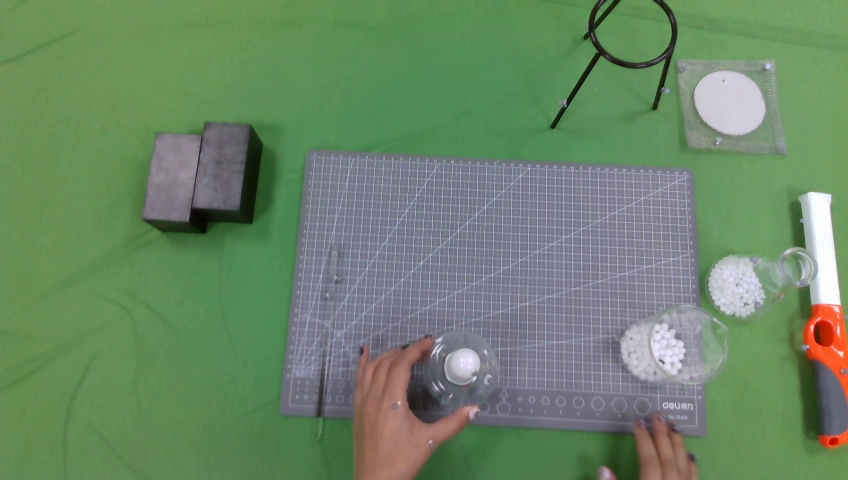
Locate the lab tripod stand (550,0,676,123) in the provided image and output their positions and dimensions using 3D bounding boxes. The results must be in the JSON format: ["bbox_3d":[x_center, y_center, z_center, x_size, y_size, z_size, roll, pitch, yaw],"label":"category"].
[{"bbox_3d":[0.205,-0.199,0.667,0.148,0.132,0.147,0,78,-1],"label":"lab tripod stand"}]

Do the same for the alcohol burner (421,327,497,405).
[{"bbox_3d":[0.035,0.122,0.596,0.078,0.119,0.077,0,75,1],"label":"alcohol burner"}]

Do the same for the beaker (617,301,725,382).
[{"bbox_3d":[0.244,0.104,0.612,0.084,0.100,0.073,-20,78,-6],"label":"beaker"}]

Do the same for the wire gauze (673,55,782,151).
[{"bbox_3d":[0.365,-0.167,0.726,0.125,0.011,0.121,2,77,-2],"label":"wire gauze"}]

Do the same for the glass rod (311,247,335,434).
[{"bbox_3d":[-0.107,0.105,0.652,0.008,0.008,0.199,4,80,0],"label":"glass rod"}]

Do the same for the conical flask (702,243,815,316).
[{"bbox_3d":[0.345,0.034,0.620,0.075,0.122,0.075,0,76,0],"label":"conical flask"}]

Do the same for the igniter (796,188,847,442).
[{"bbox_3d":[0.435,0.077,0.660,0.057,0.025,0.275,6,76,-11],"label":"igniter"}]

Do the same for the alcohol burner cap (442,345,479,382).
[{"bbox_3d":[0.036,0.113,0.562,0.034,0.048,0.033,2,71,-6],"label":"alcohol burner cap"}]
